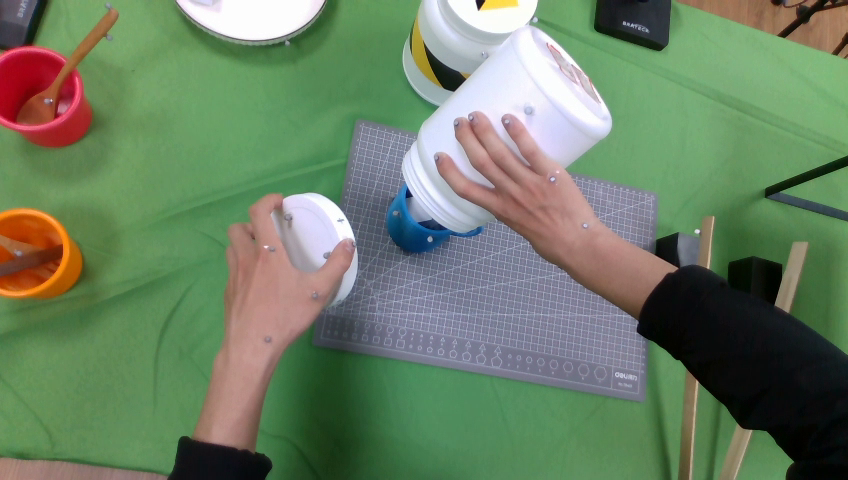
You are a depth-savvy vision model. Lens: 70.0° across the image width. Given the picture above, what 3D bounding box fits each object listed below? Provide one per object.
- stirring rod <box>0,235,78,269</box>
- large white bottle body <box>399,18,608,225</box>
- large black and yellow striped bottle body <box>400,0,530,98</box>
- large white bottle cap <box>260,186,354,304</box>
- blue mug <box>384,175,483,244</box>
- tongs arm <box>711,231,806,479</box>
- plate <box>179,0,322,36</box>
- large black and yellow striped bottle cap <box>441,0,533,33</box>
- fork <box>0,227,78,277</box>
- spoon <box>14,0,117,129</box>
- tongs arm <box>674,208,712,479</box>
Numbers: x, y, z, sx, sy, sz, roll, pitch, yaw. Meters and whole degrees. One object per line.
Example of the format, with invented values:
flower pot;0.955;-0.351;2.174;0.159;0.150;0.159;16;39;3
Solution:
stirring rod;-0.428;0.024;0.604;0.014;0.006;0.176;58;30;-1
large white bottle body;0.073;-0.110;0.608;0.132;0.185;0.129;33;35;-26
large black and yellow striped bottle body;0.050;-0.271;0.759;0.131;0.184;0.130;3;78;-13
large white bottle cap;-0.115;0.005;0.587;0.018;0.114;0.114;-13;80;-54
blue mug;0.015;-0.040;0.744;0.117;0.106;0.082;19;75;-10
tongs arm;0.444;0.168;0.818;0.028;0.027;0.387;22;86;-18
plate;-0.227;-0.355;0.781;0.208;0.039;0.206;3;79;-14
large black and yellow striped bottle cap;0.070;-0.289;0.680;0.115;0.019;0.114;3;80;-15
fork;-0.443;-0.018;0.602;0.209;0.018;0.028;47;63;-48
spoon;-0.387;-0.187;0.652;0.194;0.021;0.041;-36;85;26
tongs arm;0.366;0.151;0.799;0.051;0.026;0.384;8;89;-15
